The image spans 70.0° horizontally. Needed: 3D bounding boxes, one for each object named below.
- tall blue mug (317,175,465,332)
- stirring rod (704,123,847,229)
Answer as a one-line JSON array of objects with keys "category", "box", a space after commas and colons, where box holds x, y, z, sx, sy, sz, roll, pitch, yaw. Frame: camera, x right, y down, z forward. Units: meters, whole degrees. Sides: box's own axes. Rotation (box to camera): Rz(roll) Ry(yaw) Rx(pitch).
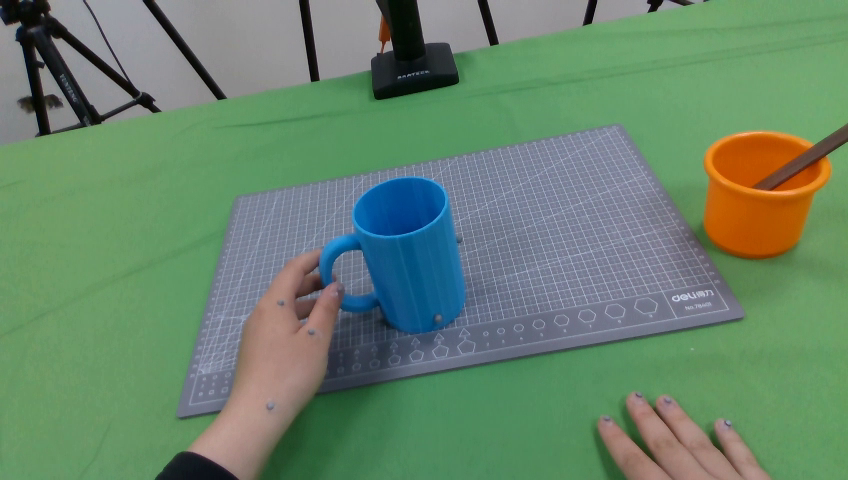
[{"category": "tall blue mug", "box": [-0.022, 0.021, 0.488, 0.107, 0.109, 0.077, -37, 47, -26]}, {"category": "stirring rod", "box": [0.302, -0.062, 0.483, 0.176, 0.006, 0.014, -42, 30, 34]}]
